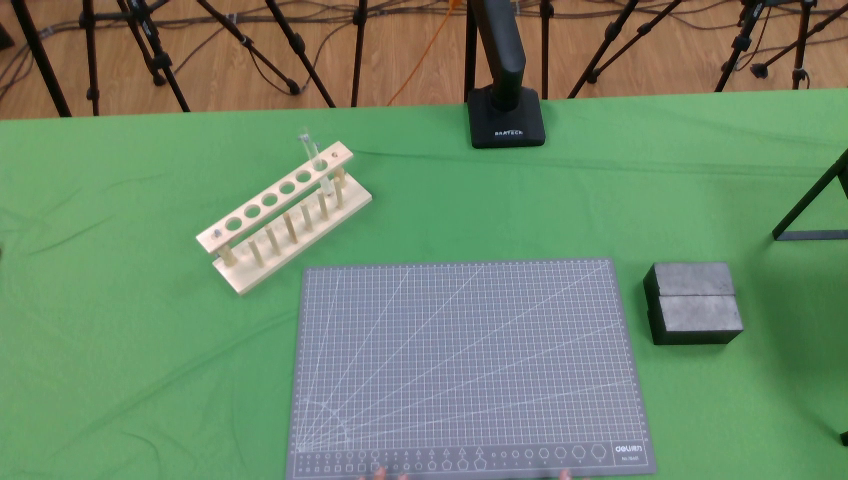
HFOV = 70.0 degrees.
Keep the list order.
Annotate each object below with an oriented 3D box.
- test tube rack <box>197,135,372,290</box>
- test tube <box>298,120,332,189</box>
[{"bbox_3d":[-0.192,-0.041,0.869,0.242,0.086,0.066,-39,67,-19],"label":"test tube rack"},{"bbox_3d":[-0.152,-0.117,0.855,0.017,0.151,0.017,-2,63,4],"label":"test tube"}]
